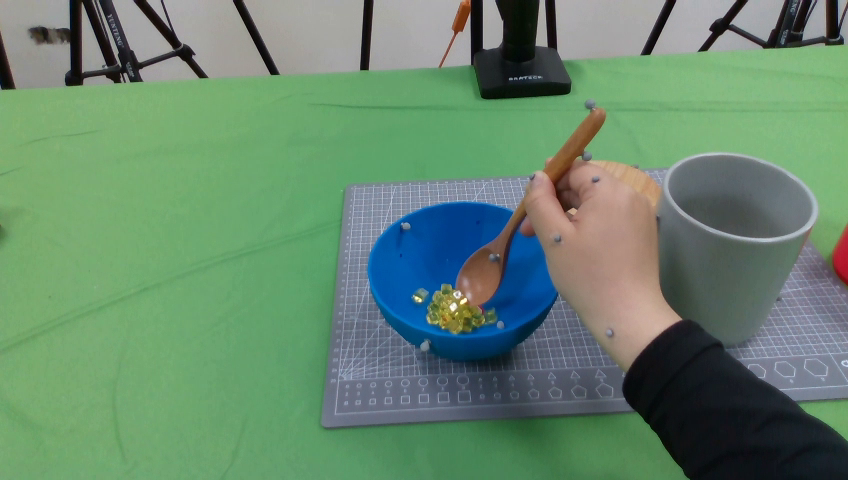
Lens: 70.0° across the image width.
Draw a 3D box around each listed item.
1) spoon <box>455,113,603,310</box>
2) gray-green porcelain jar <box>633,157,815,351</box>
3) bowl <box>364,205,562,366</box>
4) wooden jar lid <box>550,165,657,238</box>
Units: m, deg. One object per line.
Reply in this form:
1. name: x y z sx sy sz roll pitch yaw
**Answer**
1. spoon: 0.068 -0.012 0.429 0.022 0.194 0.041 -3 53 -28
2. gray-green porcelain jar: 0.226 0.016 0.476 0.106 0.127 0.105 -2 42 2
3. bowl: 0.031 0.048 0.487 0.151 0.077 0.150 -1 42 1
4. wooden jar lid: 0.183 -0.039 0.621 0.108 0.021 0.107 -2 41 2
